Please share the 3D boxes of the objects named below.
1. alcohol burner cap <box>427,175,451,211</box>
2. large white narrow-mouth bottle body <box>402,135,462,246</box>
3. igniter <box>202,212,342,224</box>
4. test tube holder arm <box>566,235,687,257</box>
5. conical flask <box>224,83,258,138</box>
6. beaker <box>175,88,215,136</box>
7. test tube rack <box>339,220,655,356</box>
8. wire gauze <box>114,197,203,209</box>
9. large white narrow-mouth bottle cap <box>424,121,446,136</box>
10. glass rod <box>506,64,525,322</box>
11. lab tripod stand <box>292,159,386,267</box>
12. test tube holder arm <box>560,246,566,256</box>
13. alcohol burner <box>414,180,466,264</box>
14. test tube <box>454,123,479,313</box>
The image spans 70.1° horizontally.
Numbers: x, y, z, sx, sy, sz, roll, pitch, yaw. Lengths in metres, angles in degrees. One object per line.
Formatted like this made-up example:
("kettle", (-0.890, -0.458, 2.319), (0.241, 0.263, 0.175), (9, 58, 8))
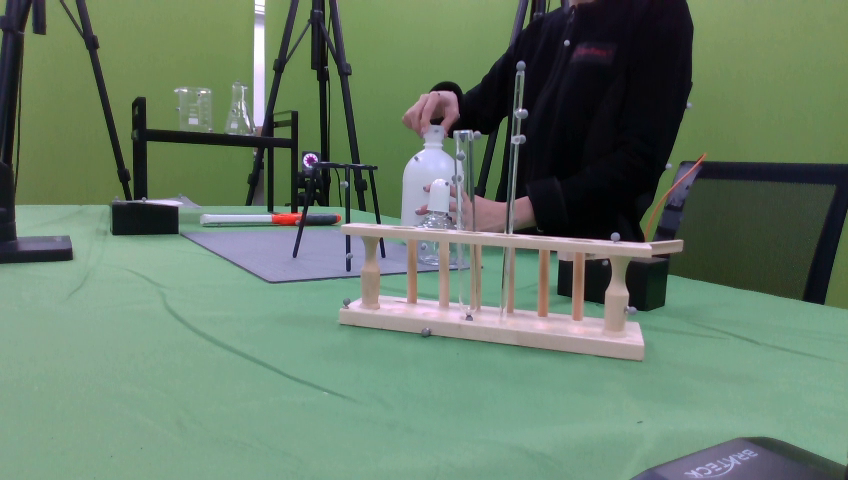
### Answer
("alcohol burner cap", (0.023, -0.064, 0.822), (0.034, 0.048, 0.034), (7, 5, 0))
("large white narrow-mouth bottle body", (0.015, -0.092, 1.031), (0.102, 0.194, 0.102), (2, 8, 0))
("igniter", (-0.298, -0.044, 1.216), (0.278, 0.025, 0.057), (-2, -2, -33))
("test tube holder arm", (0.215, 0.006, 0.630), (0.179, 0.015, 0.013), (-3, 10, -30))
("conical flask", (-0.422, -0.299, 1.395), (0.075, 0.122, 0.075), (2, 7, 0))
("beaker", (-0.511, -0.285, 1.353), (0.084, 0.100, 0.073), (-2, 8, -25))
("test tube rack", (0.056, 0.032, 0.495), (0.242, 0.085, 0.067), (4, 7, 15))
("wire gauze", (-0.447, -0.062, 1.015), (0.126, 0.011, 0.121), (-2, 8, -31))
("large white narrow-mouth bottle cap", (0.018, -0.187, 1.016), (0.038, 0.024, 0.037), (2, 8, 0))
("glass rod", (0.069, -0.030, 0.458), (0.008, 0.199, 0.008), (0, 15, 0))
("lab tripod stand", (-0.104, -0.039, 0.798), (0.148, 0.131, 0.148), (2, 5, 0))
("test tube holder arm", (0.173, 0.007, 0.611), (0.088, 0.015, 0.010), (-3, 10, -30))
("alcohol burner", (0.021, -0.028, 0.826), (0.078, 0.119, 0.078), (0, 6, 0))
("test tube", (0.034, -0.016, 0.477), (0.017, 0.150, 0.017), (-2, 9, 1))
